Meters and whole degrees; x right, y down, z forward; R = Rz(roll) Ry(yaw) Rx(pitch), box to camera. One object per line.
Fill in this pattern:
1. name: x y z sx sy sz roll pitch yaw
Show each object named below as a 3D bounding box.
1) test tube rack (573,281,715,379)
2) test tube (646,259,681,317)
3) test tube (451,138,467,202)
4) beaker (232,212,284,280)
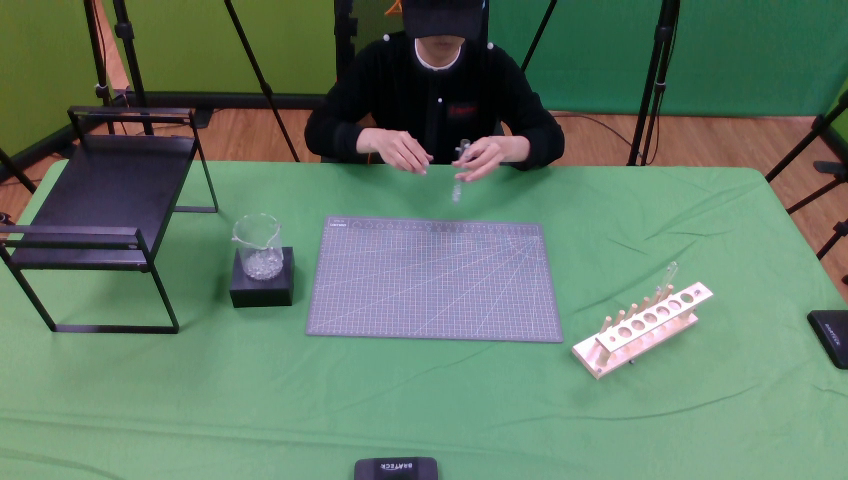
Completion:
1. test tube rack: 0.378 0.140 1.038 0.242 0.085 0.066 -22 51 -23
2. test tube: 0.406 0.083 1.033 0.017 0.151 0.017 2 48 -2
3. test tube: 0.065 -0.128 1.135 0.017 0.151 0.017 3 47 -3
4. beaker: -0.280 0.016 1.037 0.074 0.101 0.083 -18 50 -20
